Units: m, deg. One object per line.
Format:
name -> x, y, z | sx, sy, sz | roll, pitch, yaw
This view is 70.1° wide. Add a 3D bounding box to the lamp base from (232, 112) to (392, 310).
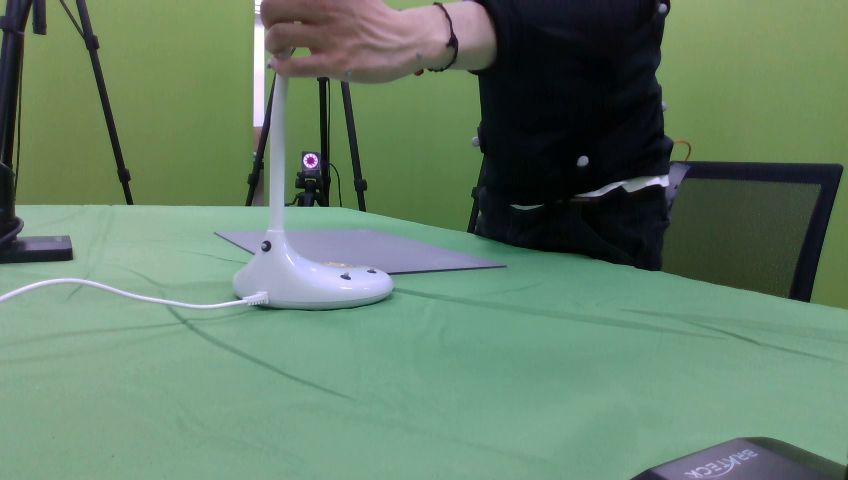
lamp base -> -0.113, -0.031, 0.593 | 0.160, 0.180, 0.179 | 5, 10, 18
